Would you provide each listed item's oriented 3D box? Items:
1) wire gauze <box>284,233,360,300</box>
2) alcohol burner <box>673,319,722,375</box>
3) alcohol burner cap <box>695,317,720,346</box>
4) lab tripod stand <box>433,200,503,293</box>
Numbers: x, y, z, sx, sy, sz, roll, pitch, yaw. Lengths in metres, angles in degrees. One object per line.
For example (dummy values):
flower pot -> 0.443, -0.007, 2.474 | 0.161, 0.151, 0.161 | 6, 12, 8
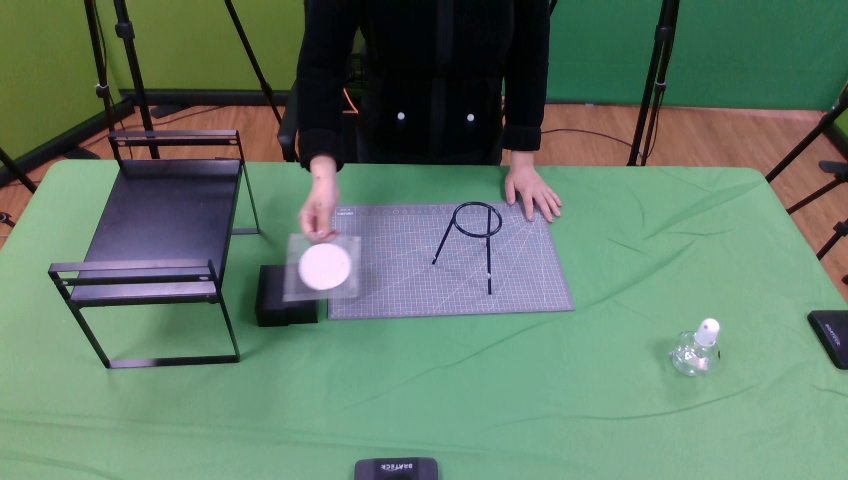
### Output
wire gauze -> -0.170, 0.043, 1.019 | 0.121, 0.011, 0.124 | 1, 63, -4
alcohol burner -> 0.458, 0.170, 1.002 | 0.078, 0.120, 0.077 | 2, 45, -2
alcohol burner cap -> 0.459, 0.146, 0.975 | 0.034, 0.048, 0.033 | -3, 45, 3
lab tripod stand -> 0.095, 0.006, 1.116 | 0.148, 0.132, 0.147 | 3, 46, -3
